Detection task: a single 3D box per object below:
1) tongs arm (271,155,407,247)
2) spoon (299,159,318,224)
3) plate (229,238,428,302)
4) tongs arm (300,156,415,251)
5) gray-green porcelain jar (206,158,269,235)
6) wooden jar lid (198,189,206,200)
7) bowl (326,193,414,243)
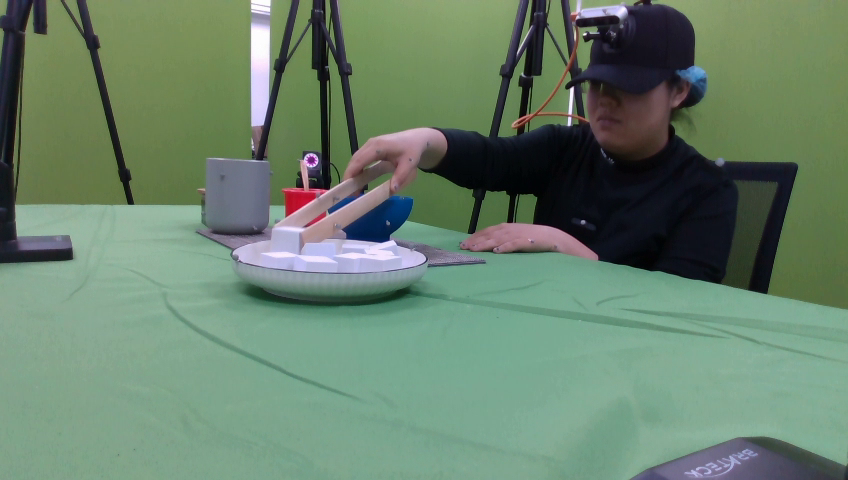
[{"bbox_3d":[-0.097,-0.065,0.830,0.050,0.026,0.385,6,21,12],"label":"tongs arm"},{"bbox_3d":[-0.244,-0.103,1.251,0.042,0.021,0.193,1,51,-17],"label":"spoon"},{"bbox_3d":[-0.099,0.032,0.651,0.209,0.038,0.209,3,8,0],"label":"plate"},{"bbox_3d":[-0.075,-0.062,0.823,0.028,0.028,0.388,4,20,17],"label":"tongs arm"},{"bbox_3d":[-0.323,-0.076,1.048,0.106,0.126,0.106,3,7,0],"label":"gray-green porcelain jar"},{"bbox_3d":[-0.382,-0.088,1.175,0.108,0.020,0.108,3,8,0],"label":"wooden jar lid"},{"bbox_3d":[-0.094,-0.037,1.015,0.151,0.077,0.151,3,7,0],"label":"bowl"}]
